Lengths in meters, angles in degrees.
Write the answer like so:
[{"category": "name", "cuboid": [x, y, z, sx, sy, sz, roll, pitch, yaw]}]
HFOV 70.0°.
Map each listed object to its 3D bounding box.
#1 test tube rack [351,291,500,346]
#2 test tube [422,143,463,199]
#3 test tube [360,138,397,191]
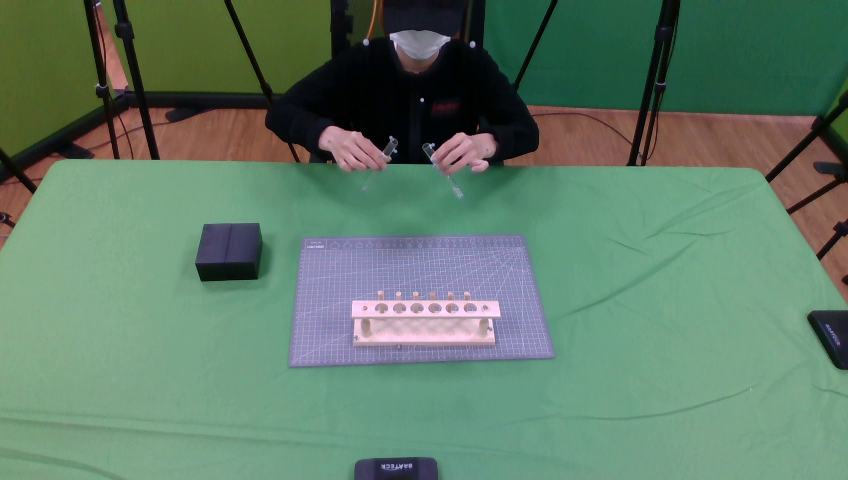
[{"category": "test tube rack", "cuboid": [0.000, 0.129, 1.026, 0.242, 0.085, 0.066, 1, 46, -4]}, {"category": "test tube", "cuboid": [0.037, -0.128, 1.144, 0.017, 0.151, 0.017, -20, 44, 21]}, {"category": "test tube", "cuboid": [-0.090, -0.141, 1.162, 0.017, 0.150, 0.017, 17, 50, -21]}]
